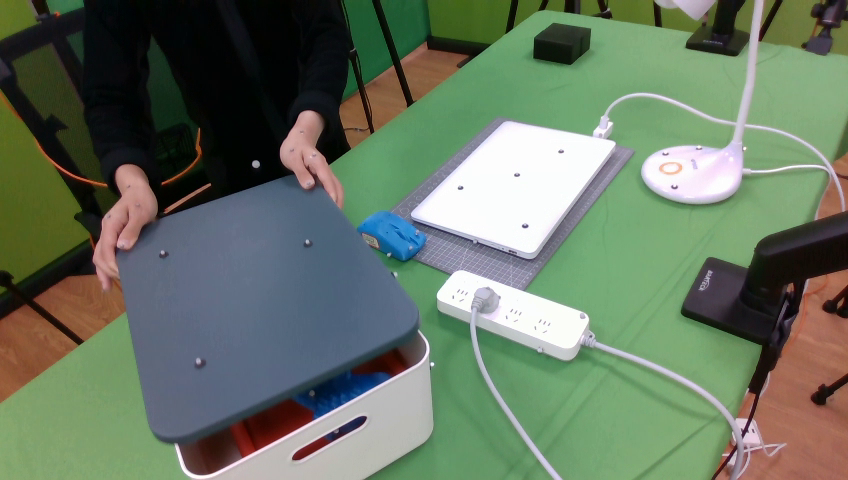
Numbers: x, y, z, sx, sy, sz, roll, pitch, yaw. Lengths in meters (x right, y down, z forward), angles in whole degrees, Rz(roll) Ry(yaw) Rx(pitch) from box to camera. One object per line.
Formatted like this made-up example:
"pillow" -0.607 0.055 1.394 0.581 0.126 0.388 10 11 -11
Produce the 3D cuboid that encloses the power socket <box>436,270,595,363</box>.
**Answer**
"power socket" 0.118 0.101 0.832 0.225 0.033 0.072 19 48 27

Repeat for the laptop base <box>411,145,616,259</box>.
"laptop base" 0.168 -0.101 1.073 0.234 0.023 0.355 17 46 30

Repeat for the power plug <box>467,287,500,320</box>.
"power plug" 0.072 0.092 0.814 0.035 0.053 0.073 30 54 34

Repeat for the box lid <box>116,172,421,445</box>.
"box lid" -0.191 0.042 0.673 0.264 0.015 0.368 -23 40 -19

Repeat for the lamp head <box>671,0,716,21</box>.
"lamp head" 0.375 -0.373 0.807 0.122 0.113 0.112 -40 27 32

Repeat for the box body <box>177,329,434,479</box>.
"box body" -0.175 0.131 0.737 0.255 0.161 0.360 -25 43 -19

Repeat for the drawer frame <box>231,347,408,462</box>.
"drawer frame" -0.131 0.177 0.729 0.202 0.083 0.211 -27 50 -19

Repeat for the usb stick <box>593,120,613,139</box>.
"usb stick" 0.336 -0.201 1.146 0.021 0.027 0.059 25 52 27

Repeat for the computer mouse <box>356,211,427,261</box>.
"computer mouse" -0.055 -0.010 0.979 0.116 0.041 0.063 27 49 29

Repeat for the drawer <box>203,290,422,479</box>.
"drawer" -0.136 0.188 0.740 0.195 0.073 0.210 -24 52 -22

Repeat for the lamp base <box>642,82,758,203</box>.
"lamp base" 0.464 -0.174 0.992 0.179 0.181 0.159 -5 41 -1

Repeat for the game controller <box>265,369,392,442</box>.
"game controller" -0.121 0.158 0.676 0.154 0.052 0.097 19 47 27

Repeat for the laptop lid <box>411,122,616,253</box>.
"laptop lid" 0.165 -0.111 1.067 0.240 0.013 0.357 19 46 31
